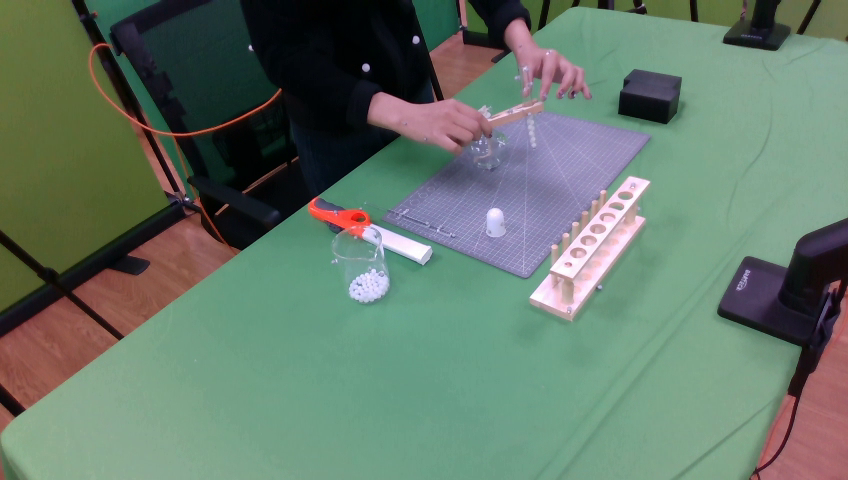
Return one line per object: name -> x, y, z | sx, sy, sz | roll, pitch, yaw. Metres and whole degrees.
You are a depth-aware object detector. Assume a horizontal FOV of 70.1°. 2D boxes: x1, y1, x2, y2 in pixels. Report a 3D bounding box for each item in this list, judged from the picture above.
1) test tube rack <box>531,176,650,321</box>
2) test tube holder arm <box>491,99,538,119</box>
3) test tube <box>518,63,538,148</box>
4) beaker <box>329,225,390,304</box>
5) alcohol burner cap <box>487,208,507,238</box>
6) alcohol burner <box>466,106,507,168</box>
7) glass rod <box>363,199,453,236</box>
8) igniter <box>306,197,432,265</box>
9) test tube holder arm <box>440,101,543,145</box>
test tube rack -> 0.246, 0.002, 0.884 | 0.066, 0.085, 0.243 | 22, 49, 32
test tube holder arm -> 0.144, -0.203, 0.964 | 0.088, 0.015, 0.010 | -26, 35, -20
test tube -> 0.167, -0.212, 0.966 | 0.017, 0.151, 0.017 | -10, 41, 9
beaker -> -0.089, 0.040, 0.890 | 0.074, 0.101, 0.083 | -32, 46, -24
alcohol burner cap -> 0.116, -0.030, 0.975 | 0.034, 0.048, 0.033 | -6, 40, 5
alcohol burner -> 0.115, -0.193, 1.112 | 0.078, 0.119, 0.077 | -4, 41, 4
glass rod -> -0.031, -0.041, 1.042 | 0.198, 0.008, 0.008 | 22, 50, 31
igniter -> -0.102, -0.020, 1.019 | 0.274, 0.025, 0.057 | 23, 60, 32
test tube holder arm -> 0.107, -0.184, 0.947 | 0.179, 0.015, 0.013 | -22, 34, -14
